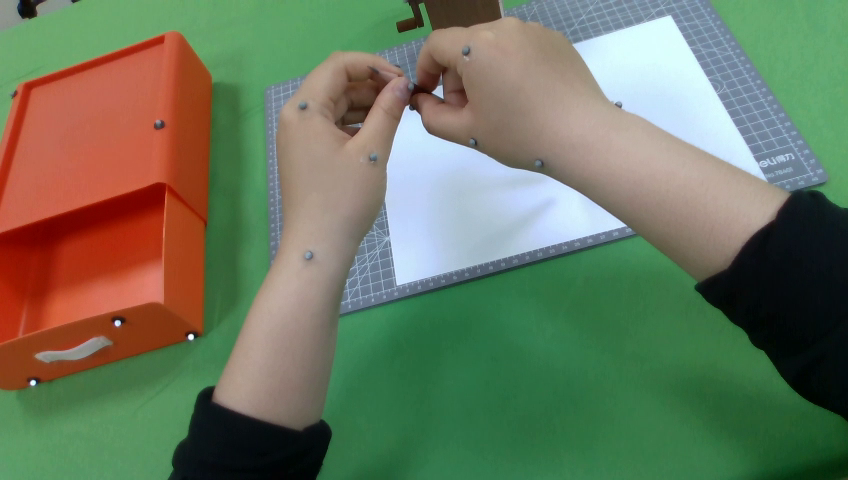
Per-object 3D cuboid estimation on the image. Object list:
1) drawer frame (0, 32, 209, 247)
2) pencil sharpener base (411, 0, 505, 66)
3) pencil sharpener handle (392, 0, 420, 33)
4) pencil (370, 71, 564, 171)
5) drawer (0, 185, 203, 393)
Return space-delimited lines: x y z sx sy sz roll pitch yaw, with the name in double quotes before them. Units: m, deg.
"drawer frame" -0.326 -0.086 0.613 0.201 0.083 0.211 -17 56 7
"pencil sharpener base" 0.029 -0.229 0.576 0.076 0.108 0.061 -14 57 9
"pencil sharpener handle" -0.023 -0.225 0.574 0.030 0.068 0.035 -14 62 9
"pencil" 0.039 -0.078 0.419 0.012 0.196 0.012 -16 67 44
"drawer" -0.304 0.011 0.551 0.194 0.074 0.209 -17 56 7
